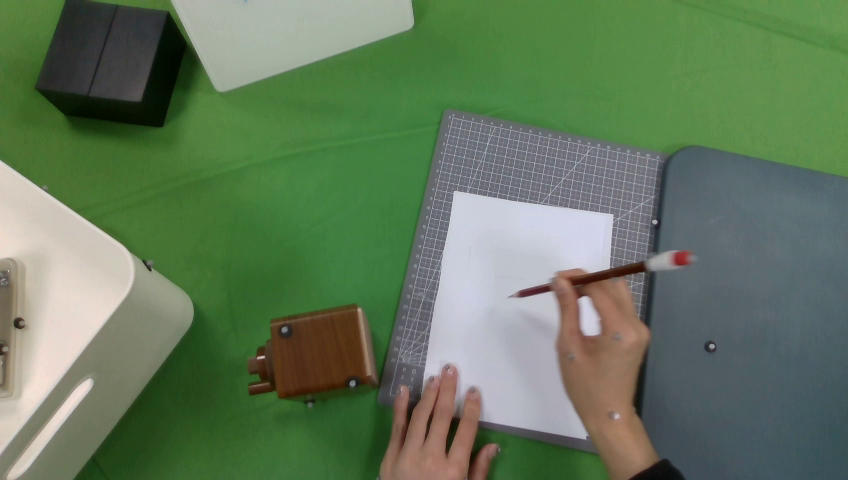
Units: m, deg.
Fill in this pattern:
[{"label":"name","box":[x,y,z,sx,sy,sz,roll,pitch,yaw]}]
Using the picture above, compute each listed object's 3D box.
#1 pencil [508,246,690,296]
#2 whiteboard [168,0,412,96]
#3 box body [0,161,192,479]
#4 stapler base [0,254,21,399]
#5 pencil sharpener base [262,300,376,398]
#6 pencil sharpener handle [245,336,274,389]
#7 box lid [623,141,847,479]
[{"label":"pencil","box":[0.122,0.029,0.467,0.012,0.193,0.012,7,74,-27]},{"label":"whiteboard","box":[-0.151,-0.322,0.539,0.217,0.308,0.142,-21,56,-7]},{"label":"box body","box":[-0.405,0.042,0.471,0.363,0.161,0.253,32,76,7]},{"label":"stapler base","box":[-0.380,0.074,0.529,0.041,0.024,0.130,-8,77,-2]},{"label":"pencil sharpener base","box":[-0.084,0.093,0.497,0.077,0.107,0.061,-10,75,-4]},{"label":"pencil sharpener handle","box":[-0.133,0.103,0.480,0.031,0.068,0.035,-10,58,-4]},{"label":"box lid","box":[0.332,0.093,0.563,0.263,0.015,0.369,12,75,0]}]
